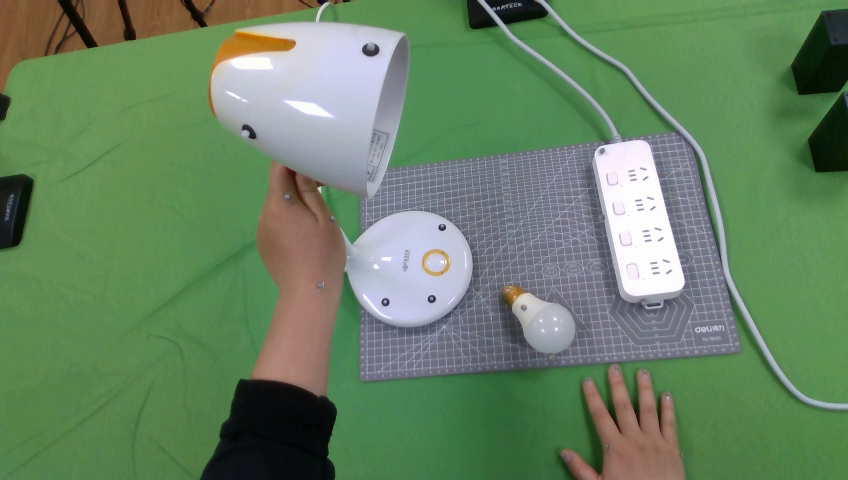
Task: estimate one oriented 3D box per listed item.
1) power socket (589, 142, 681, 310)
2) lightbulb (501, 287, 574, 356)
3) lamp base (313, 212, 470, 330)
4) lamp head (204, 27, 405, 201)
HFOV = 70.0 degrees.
[{"bbox_3d":[0.260,-0.025,0.755,0.072,0.033,0.225,-8,66,6],"label":"power socket"},{"bbox_3d":[0.130,0.092,0.721,0.059,0.060,0.106,-41,51,-8],"label":"lightbulb"},{"bbox_3d":[-0.046,0.011,0.714,0.179,0.182,0.159,-9,66,10],"label":"lamp base"},{"bbox_3d":[-0.081,-0.091,0.413,0.123,0.113,0.112,12,70,7],"label":"lamp head"}]
